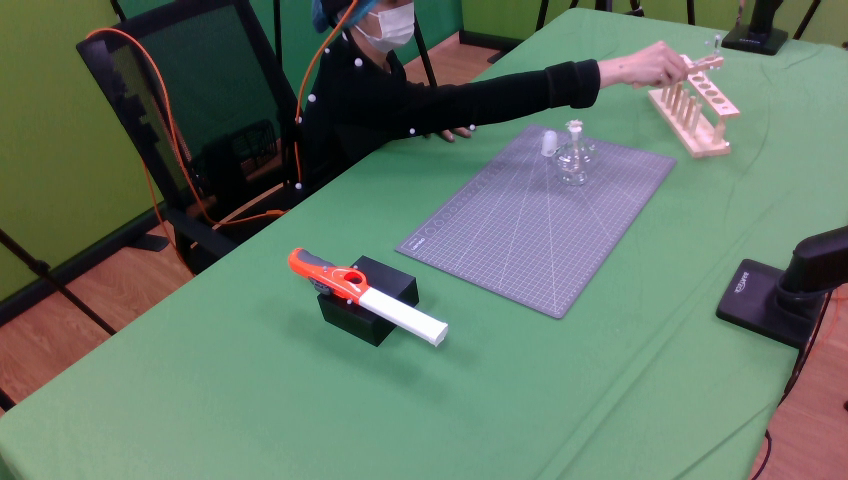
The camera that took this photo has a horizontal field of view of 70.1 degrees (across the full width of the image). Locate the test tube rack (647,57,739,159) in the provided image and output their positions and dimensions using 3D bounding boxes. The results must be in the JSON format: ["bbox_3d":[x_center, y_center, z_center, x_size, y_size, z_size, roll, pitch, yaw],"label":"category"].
[{"bbox_3d":[0.504,-0.257,1.153,0.067,0.085,0.241,-8,40,2],"label":"test tube rack"}]

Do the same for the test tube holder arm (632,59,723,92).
[{"bbox_3d":[0.447,-0.291,1.066,0.179,0.015,0.013,-18,41,-11],"label":"test tube holder arm"}]

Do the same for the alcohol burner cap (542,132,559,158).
[{"bbox_3d":[0.237,-0.180,1.134,0.034,0.048,0.033,-5,41,5],"label":"alcohol burner cap"}]

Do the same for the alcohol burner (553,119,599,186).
[{"bbox_3d":[0.261,-0.153,1.042,0.078,0.119,0.077,-6,40,6],"label":"alcohol burner"}]

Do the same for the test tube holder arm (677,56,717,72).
[{"bbox_3d":[0.486,-0.309,1.080,0.088,0.015,0.010,-24,43,-17],"label":"test tube holder arm"}]

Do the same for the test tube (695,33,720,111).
[{"bbox_3d":[0.512,-0.300,1.096,0.017,0.151,0.017,-5,43,5],"label":"test tube"}]

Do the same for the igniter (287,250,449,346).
[{"bbox_3d":[-0.087,0.073,0.825,0.274,0.025,0.057,23,48,27],"label":"igniter"}]
